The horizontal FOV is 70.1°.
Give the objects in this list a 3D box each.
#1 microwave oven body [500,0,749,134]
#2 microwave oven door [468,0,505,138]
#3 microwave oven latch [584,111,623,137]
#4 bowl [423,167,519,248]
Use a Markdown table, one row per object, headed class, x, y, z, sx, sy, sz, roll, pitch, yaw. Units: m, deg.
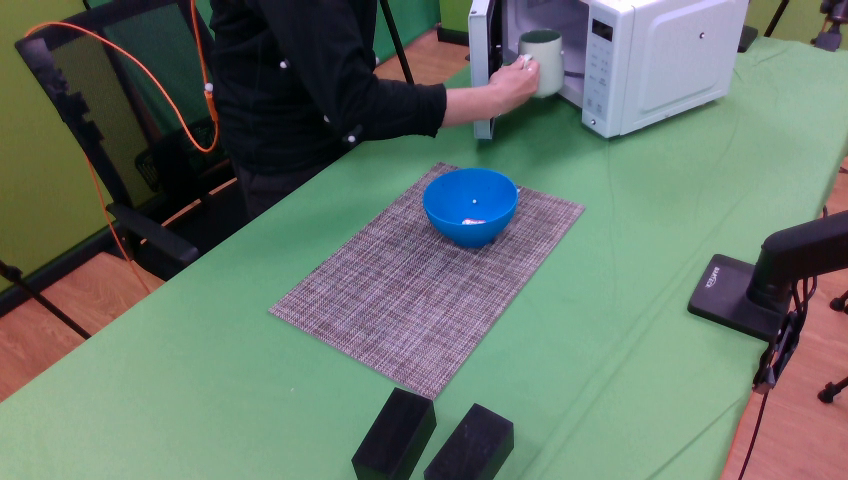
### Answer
| class | x | y | z | sx | sy | sz | roll | pitch | yaw |
| --- | --- | --- | --- | --- | --- | --- | --- | --- | --- |
| microwave oven body | 0.382 | -0.444 | 1.246 | 0.327 | 0.261 | 0.437 | -22 | 42 | -16 |
| microwave oven door | 0.132 | -0.404 | 1.225 | 0.039 | 0.245 | 0.354 | 1 | 42 | 11 |
| microwave oven latch | 0.337 | -0.222 | 1.142 | 0.030 | 0.029 | 0.078 | -21 | 42 | -14 |
| bowl | 0.075 | -0.041 | 0.958 | 0.151 | 0.077 | 0.150 | -4 | 40 | 4 |
